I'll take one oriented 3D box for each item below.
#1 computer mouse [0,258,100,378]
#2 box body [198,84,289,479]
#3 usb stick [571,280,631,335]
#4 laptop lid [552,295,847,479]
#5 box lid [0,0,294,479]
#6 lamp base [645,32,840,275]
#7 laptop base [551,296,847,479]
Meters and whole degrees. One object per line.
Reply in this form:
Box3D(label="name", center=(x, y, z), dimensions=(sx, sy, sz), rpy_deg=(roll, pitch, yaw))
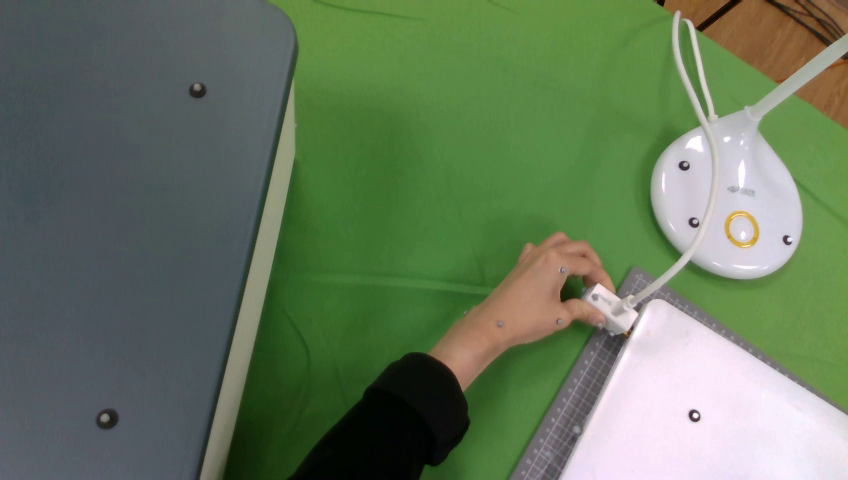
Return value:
Box3D(label="computer mouse", center=(-0.287, 0.050, 0.453), dimensions=(0.063, 0.041, 0.116), rpy_deg=(-18, 34, -6))
Box3D(label="box body", center=(-0.246, 0.017, 0.418), dimensions=(0.255, 0.161, 0.361), rpy_deg=(9, 69, -7))
Box3D(label="usb stick", center=(0.161, 0.063, 0.532), dimensions=(0.059, 0.027, 0.021), rpy_deg=(39, 63, -2))
Box3D(label="laptop lid", center=(0.287, 0.229, 0.495), dimensions=(0.356, 0.013, 0.241), rpy_deg=(34, 71, 4))
Box3D(label="box lid", center=(-0.235, -0.010, 0.350), dimensions=(0.264, 0.015, 0.369), rpy_deg=(9, 69, -6))
Box3D(label="lamp base", center=(0.307, -0.081, 0.539), dimensions=(0.161, 0.181, 0.178), rpy_deg=(-2, 67, -10))
Box3D(label="laptop base", center=(0.287, 0.232, 0.507), dimensions=(0.354, 0.023, 0.235), rpy_deg=(32, 71, 3))
